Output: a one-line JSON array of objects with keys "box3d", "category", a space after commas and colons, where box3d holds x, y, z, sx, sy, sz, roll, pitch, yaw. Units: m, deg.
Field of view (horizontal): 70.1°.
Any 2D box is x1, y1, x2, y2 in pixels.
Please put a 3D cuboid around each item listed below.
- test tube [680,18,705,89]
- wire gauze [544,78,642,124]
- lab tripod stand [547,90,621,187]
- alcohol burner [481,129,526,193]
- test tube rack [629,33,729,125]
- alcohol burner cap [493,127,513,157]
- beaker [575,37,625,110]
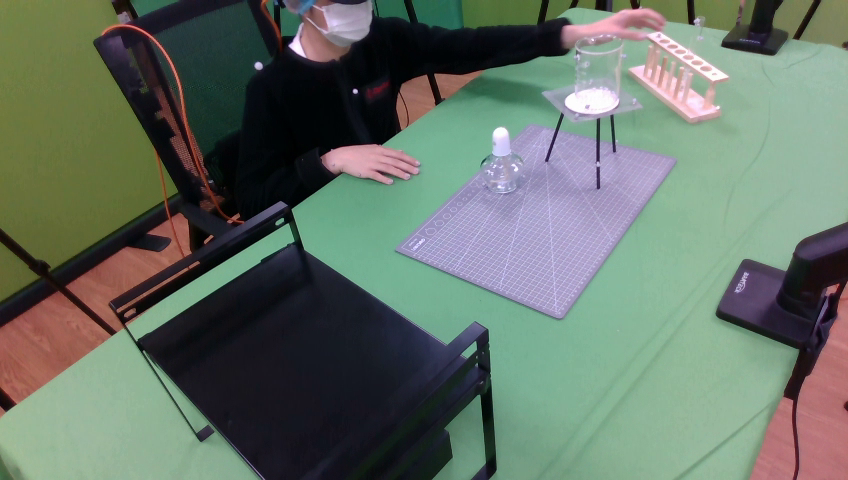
[{"box3d": [0.534, -0.368, 1.203, 0.017, 0.151, 0.017, -2, 45, 3], "category": "test tube"}, {"box3d": [0.282, -0.234, 1.021, 0.125, 0.011, 0.120, -17, 38, -4], "category": "wire gauze"}, {"box3d": [0.289, -0.184, 1.062, 0.148, 0.132, 0.147, -6, 41, 6], "category": "lab tripod stand"}, {"box3d": [0.138, -0.142, 1.052, 0.078, 0.119, 0.077, -5, 42, 5], "category": "alcohol burner"}, {"box3d": [0.516, -0.337, 1.247, 0.067, 0.085, 0.240, -14, 41, -7], "category": "test tube rack"}, {"box3d": [0.133, -0.169, 1.030, 0.034, 0.048, 0.033, -7, 35, 5], "category": "alcohol burner cap"}, {"box3d": [0.283, -0.271, 0.988, 0.074, 0.101, 0.083, -10, 39, 1], "category": "beaker"}]
